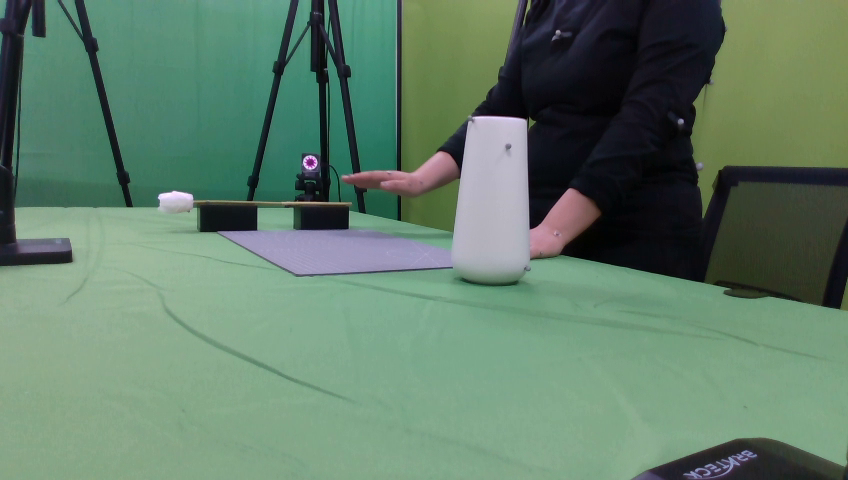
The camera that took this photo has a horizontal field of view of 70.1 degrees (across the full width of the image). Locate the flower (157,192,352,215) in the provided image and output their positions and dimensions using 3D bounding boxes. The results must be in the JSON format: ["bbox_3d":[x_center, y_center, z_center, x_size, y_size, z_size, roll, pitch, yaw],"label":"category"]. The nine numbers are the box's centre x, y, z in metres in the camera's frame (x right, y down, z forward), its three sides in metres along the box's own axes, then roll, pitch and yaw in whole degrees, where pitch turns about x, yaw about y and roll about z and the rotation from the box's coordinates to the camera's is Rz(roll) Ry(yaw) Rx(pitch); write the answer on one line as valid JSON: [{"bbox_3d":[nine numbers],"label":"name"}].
[{"bbox_3d":[-0.313,-0.075,1.160,0.363,0.038,0.044,-4,-22,-24],"label":"flower"}]

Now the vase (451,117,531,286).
[{"bbox_3d":[0.083,-0.047,0.737,0.098,0.200,0.098,1,6,0],"label":"vase"}]
